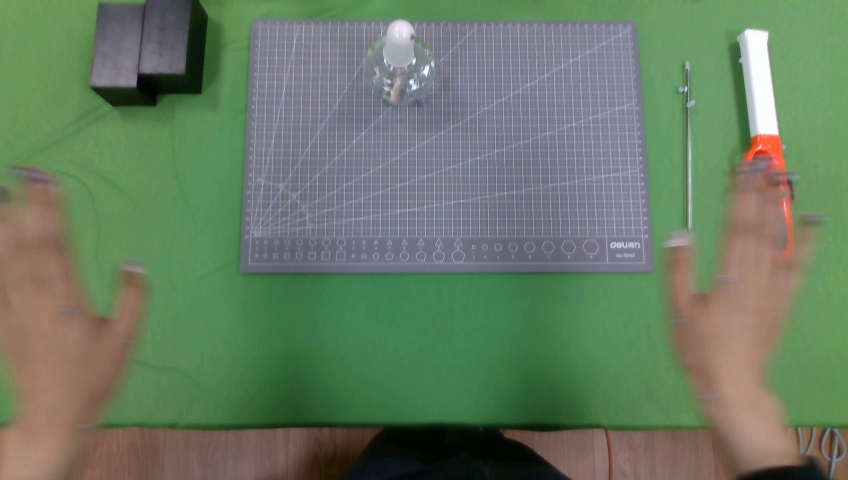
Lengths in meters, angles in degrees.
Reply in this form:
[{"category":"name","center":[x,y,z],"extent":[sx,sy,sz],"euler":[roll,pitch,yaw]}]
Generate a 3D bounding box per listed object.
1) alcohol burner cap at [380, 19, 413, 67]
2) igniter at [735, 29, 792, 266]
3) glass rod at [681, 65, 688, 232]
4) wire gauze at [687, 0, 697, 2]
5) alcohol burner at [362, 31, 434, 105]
[{"category":"alcohol burner cap","center":[-0.026,-0.200,0.606],"extent":[0.034,0.048,0.033],"euler":[3,73,-8]},{"category":"igniter","center":[0.380,-0.107,0.681],"extent":[0.057,0.025,0.275],"euler":[2,80,-12]},{"category":"glass rod","center":[0.296,-0.107,0.689],"extent":[0.008,0.008,0.199],"euler":[5,79,-1]},{"category":"wire gauze","center":[0.275,-0.354,0.734],"extent":[0.125,0.011,0.121],"euler":[7,80,-2]},{"category":"alcohol burner","center":[-0.028,-0.191,0.641],"extent":[0.078,0.119,0.077],"euler":[1,78,-3]}]
